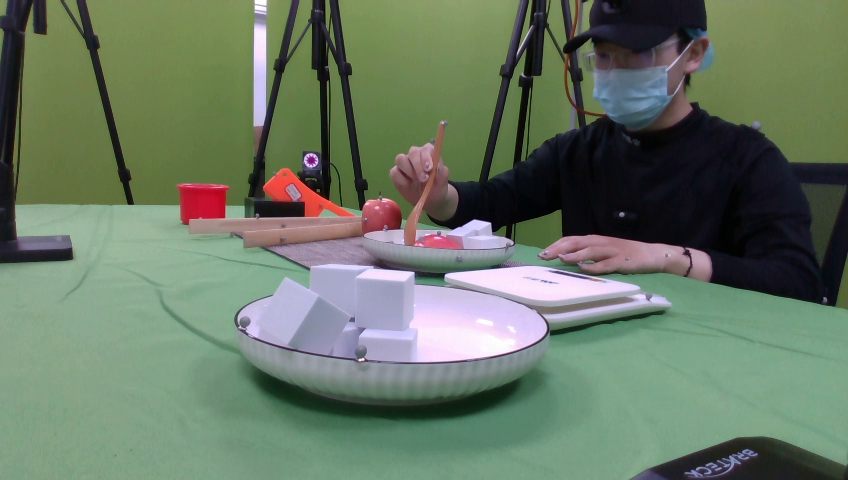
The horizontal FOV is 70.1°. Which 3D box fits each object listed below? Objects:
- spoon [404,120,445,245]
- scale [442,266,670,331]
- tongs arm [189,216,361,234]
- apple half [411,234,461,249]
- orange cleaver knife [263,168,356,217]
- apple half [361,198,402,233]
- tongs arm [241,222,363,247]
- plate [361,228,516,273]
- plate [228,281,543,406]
[{"bbox_3d":[0.003,-0.077,0.861,0.022,0.193,0.041,19,-4,-17],"label":"spoon"},{"bbox_3d":[0.131,0.052,0.603,0.202,0.031,0.148,-2,9,-37],"label":"scale"},{"bbox_3d":[-0.220,-0.028,1.088,0.387,0.026,0.050,-3,8,-43],"label":"tongs arm"},{"bbox_3d":[0.017,0.008,0.821,0.081,0.033,0.081,0,7,0],"label":"apple half"},{"bbox_3d":[-0.240,-0.077,1.294,0.212,0.077,0.012,32,-7,-26],"label":"orange cleaver knife"},{"bbox_3d":[-0.066,-0.033,1.014,0.053,0.074,0.081,10,6,20],"label":"apple half"},{"bbox_3d":[-0.159,-0.016,1.034,0.028,0.028,0.389,2,6,33],"label":"tongs arm"},{"bbox_3d":[0.018,0.013,0.818,0.209,0.038,0.209,2,7,0],"label":"plate"},{"bbox_3d":[-0.025,0.067,0.413,0.208,0.039,0.207,3,7,0],"label":"plate"}]
